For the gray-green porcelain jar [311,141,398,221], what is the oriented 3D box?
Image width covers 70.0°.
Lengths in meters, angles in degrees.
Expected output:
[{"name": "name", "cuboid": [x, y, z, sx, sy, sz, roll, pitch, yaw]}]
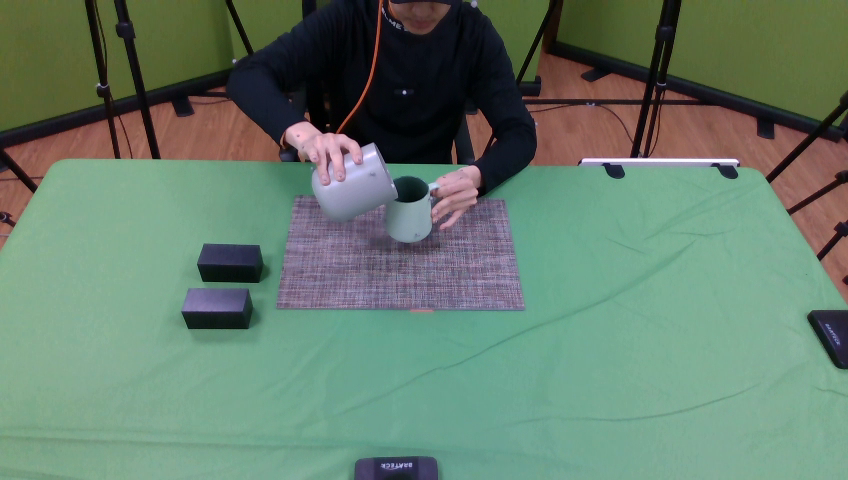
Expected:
[{"name": "gray-green porcelain jar", "cuboid": [-0.123, -0.098, 1.050, 0.126, 0.106, 0.105, -24, 49, 3]}]

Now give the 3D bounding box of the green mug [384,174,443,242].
[{"name": "green mug", "cuboid": [-0.017, -0.065, 1.141, 0.125, 0.105, 0.092, -29, 53, -26]}]
